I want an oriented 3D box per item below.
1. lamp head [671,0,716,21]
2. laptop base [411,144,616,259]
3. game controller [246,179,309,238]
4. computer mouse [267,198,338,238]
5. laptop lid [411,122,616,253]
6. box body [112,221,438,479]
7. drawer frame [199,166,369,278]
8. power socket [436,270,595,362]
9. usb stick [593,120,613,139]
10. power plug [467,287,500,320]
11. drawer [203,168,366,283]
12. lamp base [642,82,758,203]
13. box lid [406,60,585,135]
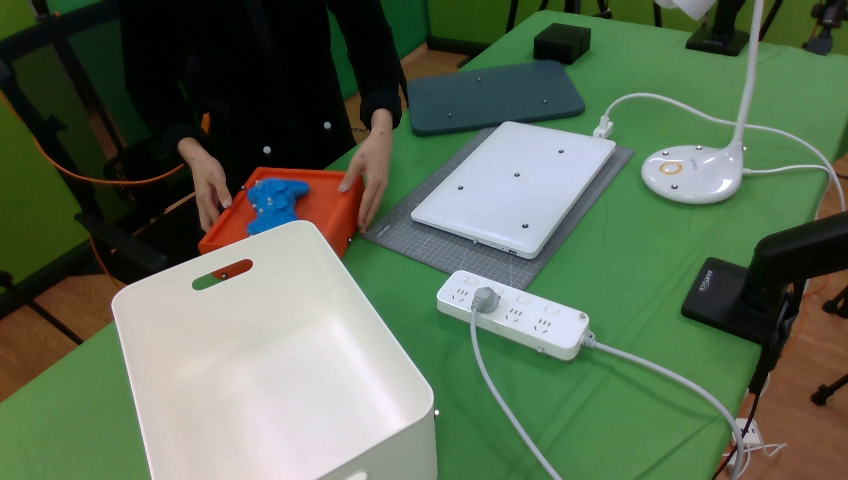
[{"bbox_3d":[0.375,-0.373,0.807,0.122,0.113,0.112,-40,27,32],"label":"lamp head"},{"bbox_3d":[0.168,-0.101,1.073,0.234,0.023,0.355,17,46,31],"label":"laptop base"},{"bbox_3d":[-0.226,-0.048,0.939,0.097,0.052,0.154,-15,40,-4],"label":"game controller"},{"bbox_3d":[-0.207,-0.039,1.029,0.116,0.041,0.063,12,41,17],"label":"computer mouse"},{"bbox_3d":[0.165,-0.111,1.067,0.240,0.013,0.357,19,46,31],"label":"laptop lid"},{"bbox_3d":[-0.170,0.168,0.693,0.255,0.161,0.360,-24,43,-19],"label":"box body"},{"bbox_3d":[-0.219,-0.029,0.995,0.201,0.083,0.213,5,42,13],"label":"drawer frame"},{"bbox_3d":[0.118,0.101,0.832,0.225,0.033,0.072,19,48,27],"label":"power socket"},{"bbox_3d":[0.336,-0.201,1.146,0.021,0.027,0.059,25,52,27],"label":"usb stick"},{"bbox_3d":[0.073,0.092,0.814,0.035,0.053,0.073,29,54,34],"label":"power plug"},{"bbox_3d":[-0.221,-0.029,0.996,0.194,0.073,0.211,5,42,12],"label":"drawer"},{"bbox_3d":[0.464,-0.174,0.992,0.179,0.181,0.159,-5,41,-1],"label":"lamp base"},{"bbox_3d":[0.150,-0.320,1.340,0.372,0.015,0.261,-8,40,0],"label":"box lid"}]
